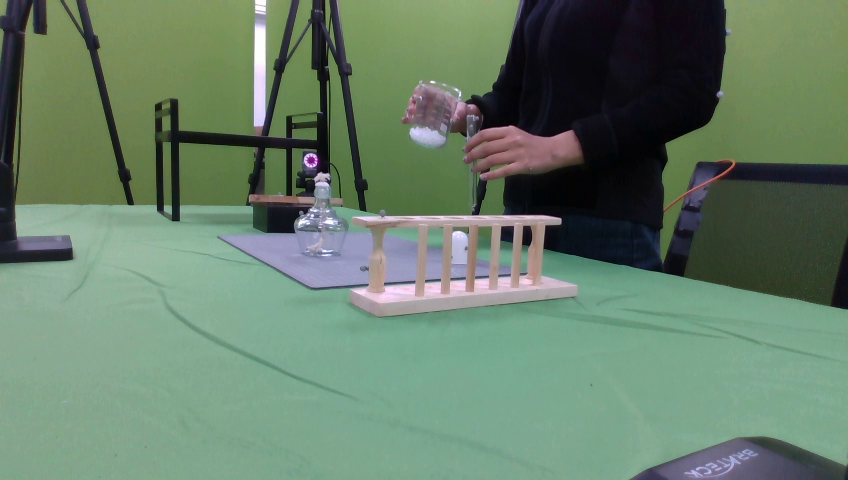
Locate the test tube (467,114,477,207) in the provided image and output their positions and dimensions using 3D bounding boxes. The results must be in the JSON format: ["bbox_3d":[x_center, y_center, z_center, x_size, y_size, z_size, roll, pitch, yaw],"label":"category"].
[{"bbox_3d":[0.078,-0.129,0.984,0.017,0.150,0.017,-1,4,0],"label":"test tube"}]

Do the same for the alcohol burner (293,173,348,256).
[{"bbox_3d":[-0.146,-0.036,0.859,0.078,0.119,0.078,4,8,0],"label":"alcohol burner"}]

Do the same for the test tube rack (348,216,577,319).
[{"bbox_3d":[0.048,0.021,0.619,0.244,0.085,0.066,-2,9,-31],"label":"test tube rack"}]

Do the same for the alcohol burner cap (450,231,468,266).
[{"bbox_3d":[0.046,0.011,0.838,0.034,0.048,0.034,3,6,0],"label":"alcohol burner cap"}]

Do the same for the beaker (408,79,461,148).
[{"bbox_3d":[0.018,-0.215,1.040,0.083,0.100,0.074,31,30,28],"label":"beaker"}]

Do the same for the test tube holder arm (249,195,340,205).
[{"bbox_3d":[-0.247,-0.077,1.168,0.179,0.015,0.013,0,9,-31],"label":"test tube holder arm"}]

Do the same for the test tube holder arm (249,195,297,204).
[{"bbox_3d":[-0.284,-0.076,1.141,0.088,0.015,0.010,0,9,-29],"label":"test tube holder arm"}]
